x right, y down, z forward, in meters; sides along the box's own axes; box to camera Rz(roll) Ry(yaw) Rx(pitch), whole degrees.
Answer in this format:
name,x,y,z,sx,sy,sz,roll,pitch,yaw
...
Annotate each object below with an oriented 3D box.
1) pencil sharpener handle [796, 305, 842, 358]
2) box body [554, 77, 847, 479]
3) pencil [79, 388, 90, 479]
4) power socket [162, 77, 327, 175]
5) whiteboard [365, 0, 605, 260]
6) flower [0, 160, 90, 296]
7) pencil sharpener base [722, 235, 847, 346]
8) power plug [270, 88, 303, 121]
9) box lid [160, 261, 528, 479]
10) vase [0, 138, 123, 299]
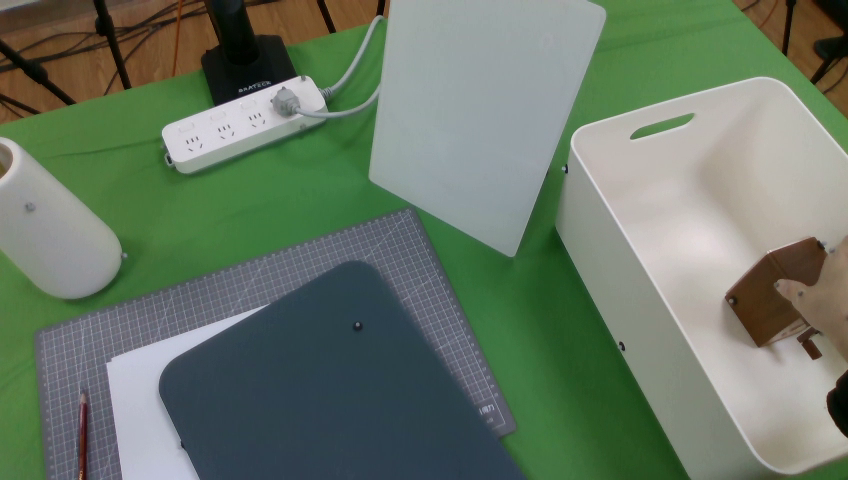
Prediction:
name,x,y,z,sx,sy,sz,roll,pitch,yaw
pencil sharpener handle,0.393,0.092,0.596,0.036,0.068,0.030,-19,62,-9
box body,0.318,0.038,0.616,0.254,0.161,0.360,-17,61,-10
pencil,-0.332,0.235,0.590,0.012,0.012,0.192,-13,59,-7
power socket,-0.236,-0.154,0.806,0.227,0.033,0.071,-24,63,-14
whiteboard,0.076,-0.168,0.691,0.216,0.307,0.143,30,45,17
flower,-0.401,-0.075,0.569,0.038,0.365,0.043,-30,45,-24
pencil sharpener base,0.375,0.057,0.630,0.061,0.108,0.076,-17,62,-11
power plug,-0.177,-0.165,0.785,0.035,0.053,0.072,-16,62,-8
box lid,-0.079,0.206,0.606,0.263,0.015,0.368,-31,65,-17
vase,-0.400,-0.016,0.630,0.098,0.201,0.097,-1,59,2
